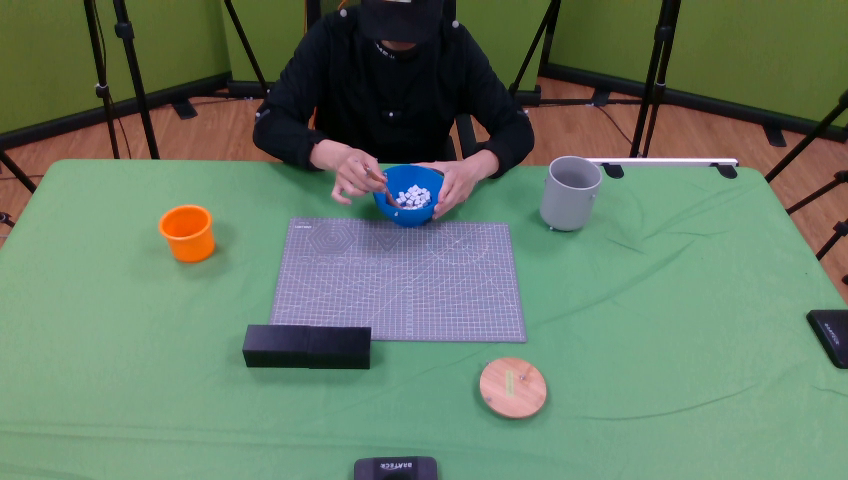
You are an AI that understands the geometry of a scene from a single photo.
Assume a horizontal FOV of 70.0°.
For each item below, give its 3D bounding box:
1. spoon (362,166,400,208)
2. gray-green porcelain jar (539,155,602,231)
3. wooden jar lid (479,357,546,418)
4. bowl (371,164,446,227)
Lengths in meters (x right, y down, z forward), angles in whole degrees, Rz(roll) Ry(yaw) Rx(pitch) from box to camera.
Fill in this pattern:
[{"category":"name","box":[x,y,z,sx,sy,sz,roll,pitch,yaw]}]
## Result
[{"category":"spoon","box":[-0.080,-0.097,1.156,0.041,0.195,0.021,37,80,26]},{"category":"gray-green porcelain jar","box":[0.294,-0.091,1.235,0.106,0.127,0.105,2,46,-2]},{"category":"wooden jar lid","box":[0.142,0.240,0.979,0.108,0.021,0.107,1,46,-1]},{"category":"bowl","box":[-0.033,-0.079,1.230,0.151,0.077,0.150,2,43,-2]}]
